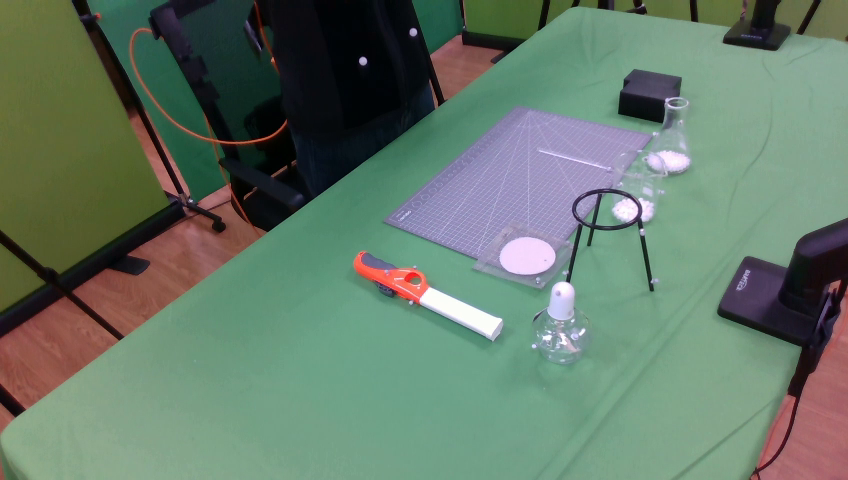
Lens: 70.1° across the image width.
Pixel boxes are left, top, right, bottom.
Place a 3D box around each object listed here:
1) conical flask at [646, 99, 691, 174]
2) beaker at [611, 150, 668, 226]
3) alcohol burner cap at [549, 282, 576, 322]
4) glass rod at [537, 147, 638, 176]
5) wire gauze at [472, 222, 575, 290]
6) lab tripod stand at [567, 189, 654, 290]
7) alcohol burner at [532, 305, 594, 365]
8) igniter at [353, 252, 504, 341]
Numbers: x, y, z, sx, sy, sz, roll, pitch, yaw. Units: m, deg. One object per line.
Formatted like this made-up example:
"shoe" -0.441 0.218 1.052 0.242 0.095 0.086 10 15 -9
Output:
"conical flask" 0.426 -0.180 1.037 0.075 0.122 0.075 -5 40 5
"beaker" 0.337 -0.079 0.953 0.083 0.101 0.074 25 51 33
"alcohol burner cap" 0.171 0.073 0.737 0.034 0.048 0.033 -2 38 2
"glass rod" 0.294 -0.145 1.104 0.198 0.008 0.008 22 50 31
"wire gauze" 0.158 0.024 0.933 0.120 0.011 0.125 21 49 31
"lab tripod stand" 0.251 0.003 0.845 0.148 0.132 0.147 -7 39 6
"alcohol burner" 0.174 0.100 0.761 0.078 0.119 0.077 -6 38 5
"igniter" -0.005 0.077 0.889 0.274 0.025 0.057 23 59 33
